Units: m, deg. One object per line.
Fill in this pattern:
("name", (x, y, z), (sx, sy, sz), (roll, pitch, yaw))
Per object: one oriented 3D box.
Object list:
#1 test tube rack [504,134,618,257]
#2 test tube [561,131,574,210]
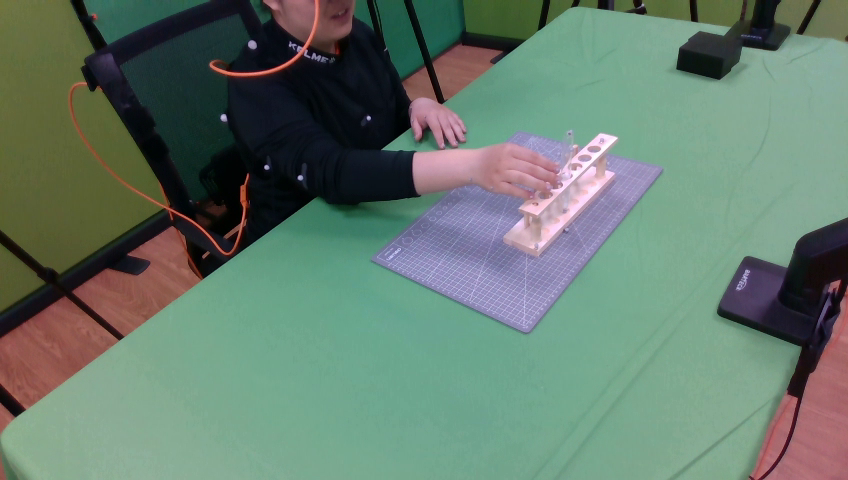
("test tube rack", (0.225, -0.083, 0.984), (0.066, 0.085, 0.243), (25, 51, 34))
("test tube", (0.220, -0.103, 0.932), (0.017, 0.151, 0.017), (-5, 45, 6))
